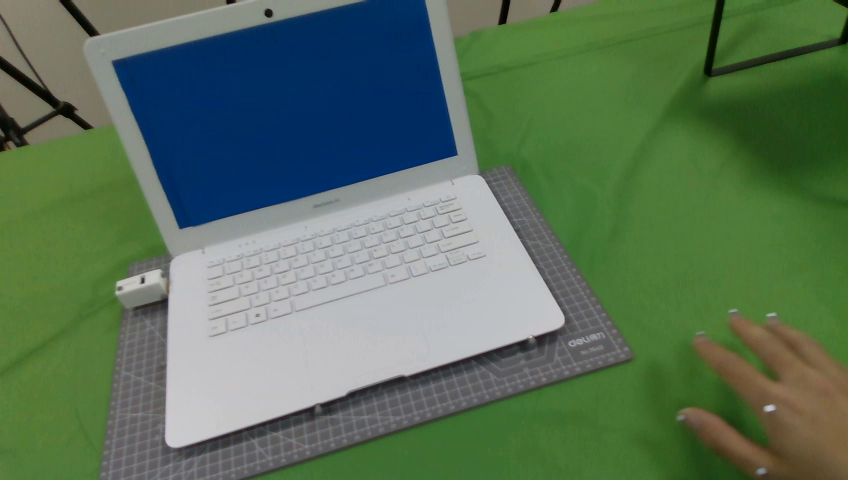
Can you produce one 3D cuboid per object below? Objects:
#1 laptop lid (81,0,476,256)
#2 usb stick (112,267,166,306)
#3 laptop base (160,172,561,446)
[{"bbox_3d":[-0.132,-0.132,0.631,0.357,0.243,0.013,-17,23,-6],"label":"laptop lid"},{"bbox_3d":[-0.281,0.046,0.615,0.059,0.027,0.021,-13,42,-9],"label":"usb stick"},{"bbox_3d":[-0.075,0.049,0.593,0.355,0.023,0.232,-16,47,-7],"label":"laptop base"}]
